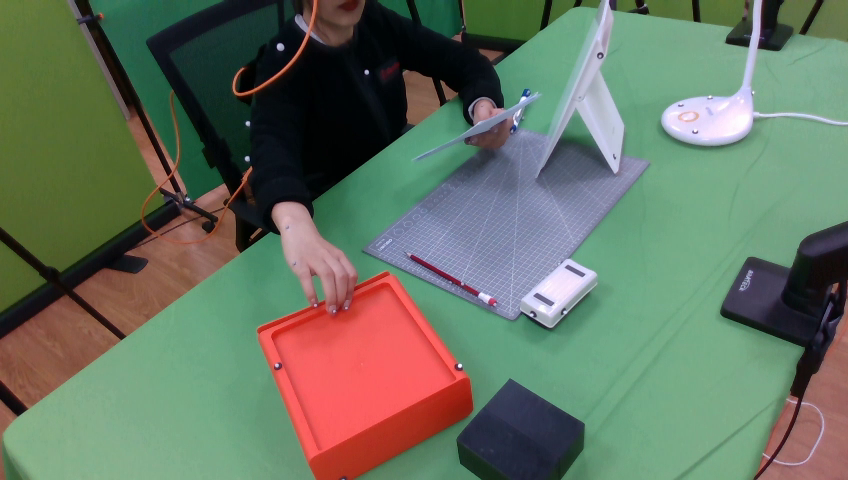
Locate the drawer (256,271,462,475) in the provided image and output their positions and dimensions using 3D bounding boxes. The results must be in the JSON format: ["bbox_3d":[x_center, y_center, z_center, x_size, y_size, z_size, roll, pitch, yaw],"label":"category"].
[{"bbox_3d":[-0.085,0.157,0.767,0.195,0.073,0.210,-23,42,-17],"label":"drawer"}]

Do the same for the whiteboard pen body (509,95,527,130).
[{"bbox_3d":[0.199,-0.273,1.261,0.017,0.017,0.140,8,44,19],"label":"whiteboard pen body"}]

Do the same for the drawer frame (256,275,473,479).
[{"bbox_3d":[-0.078,0.163,0.756,0.202,0.083,0.211,-23,43,-17],"label":"drawer frame"}]

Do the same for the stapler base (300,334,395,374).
[{"bbox_3d":[-0.105,0.146,0.810,0.130,0.024,0.041,-14,26,3],"label":"stapler base"}]

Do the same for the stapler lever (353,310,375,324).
[{"bbox_3d":[-0.113,0.124,0.797,0.118,0.040,0.026,-15,26,3],"label":"stapler lever"}]

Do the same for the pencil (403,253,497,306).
[{"bbox_3d":[0.034,0.056,0.914,0.192,0.012,0.012,27,52,38],"label":"pencil"}]

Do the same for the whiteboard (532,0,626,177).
[{"bbox_3d":[0.321,-0.258,1.050,0.144,0.306,0.217,21,45,5],"label":"whiteboard"}]

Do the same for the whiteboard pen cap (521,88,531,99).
[{"bbox_3d":[0.219,-0.312,1.301,0.018,0.018,0.033,6,47,17],"label":"whiteboard pen cap"}]

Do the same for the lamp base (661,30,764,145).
[{"bbox_3d":[0.535,-0.287,1.096,0.179,0.181,0.159,-10,40,-4],"label":"lamp base"}]

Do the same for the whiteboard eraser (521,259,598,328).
[{"bbox_3d":[0.189,0.076,0.843,0.055,0.042,0.113,29,53,37],"label":"whiteboard eraser"}]
